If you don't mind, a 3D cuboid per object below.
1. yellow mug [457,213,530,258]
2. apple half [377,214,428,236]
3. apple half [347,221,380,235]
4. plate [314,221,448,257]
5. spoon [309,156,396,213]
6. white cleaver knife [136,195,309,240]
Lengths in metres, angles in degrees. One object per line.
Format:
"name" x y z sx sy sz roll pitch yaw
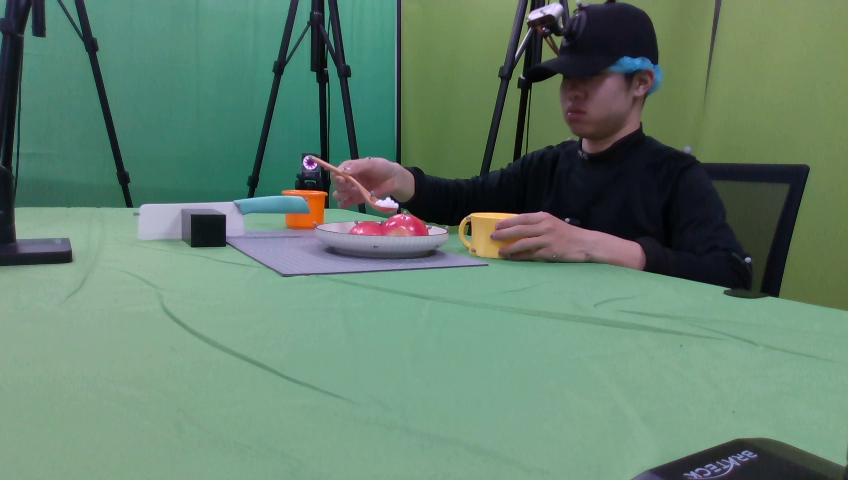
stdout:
"yellow mug" 0.108 -0.011 0.992 0.130 0.064 0.100 6 7 37
"apple half" -0.034 -0.013 0.924 0.080 0.053 0.075 5 10 16
"apple half" -0.089 -0.014 0.985 0.081 0.033 0.081 5 4 0
"plate" -0.066 -0.002 0.948 0.209 0.038 0.209 3 7 0
"spoon" -0.122 -0.095 1.005 0.193 0.021 0.042 38 19 23
"white cleaver knife" -0.337 -0.039 1.037 0.288 0.066 0.021 -6 15 -29
